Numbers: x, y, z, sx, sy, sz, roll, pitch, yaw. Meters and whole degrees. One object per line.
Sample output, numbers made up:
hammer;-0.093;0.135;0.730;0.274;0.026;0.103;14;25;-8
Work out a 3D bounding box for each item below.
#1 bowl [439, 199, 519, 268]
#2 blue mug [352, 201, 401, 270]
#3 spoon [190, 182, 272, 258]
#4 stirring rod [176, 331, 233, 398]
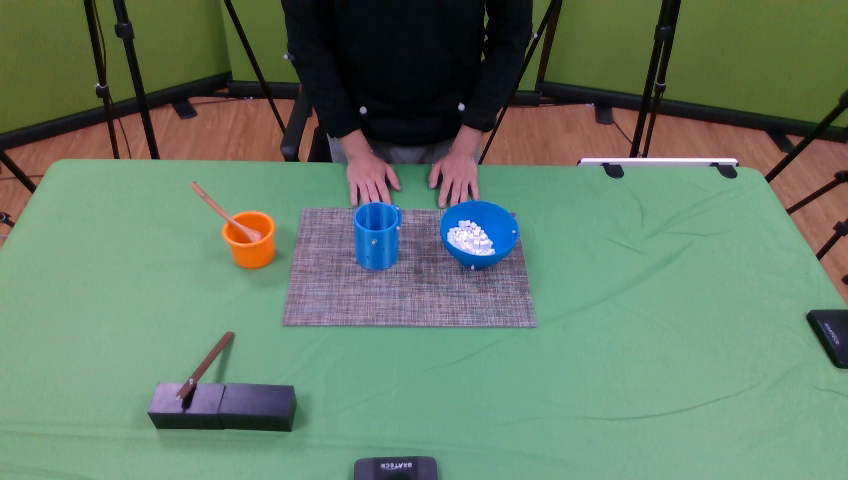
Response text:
bowl;0.100;0.001;1.160;0.151;0.077;0.150;2;46;-2
blue mug;-0.082;-0.017;1.144;0.082;0.106;0.116;30;51;22
spoon;-0.353;-0.037;1.111;0.194;0.021;0.041;42;39;-20
stirring rod;-0.342;0.192;0.955;0.014;0.006;0.175;3;24;7
